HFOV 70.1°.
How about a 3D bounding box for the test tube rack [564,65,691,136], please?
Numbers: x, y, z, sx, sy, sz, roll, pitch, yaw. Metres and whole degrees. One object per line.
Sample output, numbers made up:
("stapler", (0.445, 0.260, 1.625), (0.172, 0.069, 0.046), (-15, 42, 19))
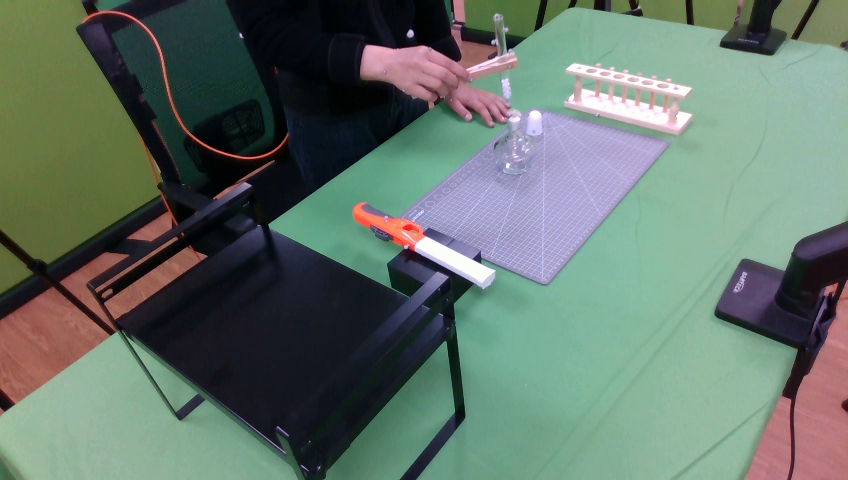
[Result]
("test tube rack", (0.404, -0.288, 1.204), (0.240, 0.085, 0.067), (24, 49, 32))

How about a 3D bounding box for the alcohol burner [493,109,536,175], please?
("alcohol burner", (0.163, -0.179, 1.087), (0.078, 0.119, 0.077), (-5, 39, 5))

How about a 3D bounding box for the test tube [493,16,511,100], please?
("test tube", (0.126, -0.288, 0.973), (0.017, 0.151, 0.017), (-7, 48, 9))

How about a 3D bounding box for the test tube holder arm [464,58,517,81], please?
("test tube holder arm", (0.107, -0.275, 0.976), (0.088, 0.015, 0.010), (-13, 50, 6))

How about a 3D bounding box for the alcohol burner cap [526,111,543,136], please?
("alcohol burner cap", (0.219, -0.232, 1.196), (0.034, 0.048, 0.033), (-4, 41, 4))

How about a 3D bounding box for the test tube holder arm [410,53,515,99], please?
("test tube holder arm", (0.063, -0.266, 0.981), (0.178, 0.015, 0.013), (-19, 49, 0))

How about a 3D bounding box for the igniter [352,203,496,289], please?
("igniter", (-0.011, 0.002, 0.899), (0.274, 0.025, 0.057), (27, 45, 33))
